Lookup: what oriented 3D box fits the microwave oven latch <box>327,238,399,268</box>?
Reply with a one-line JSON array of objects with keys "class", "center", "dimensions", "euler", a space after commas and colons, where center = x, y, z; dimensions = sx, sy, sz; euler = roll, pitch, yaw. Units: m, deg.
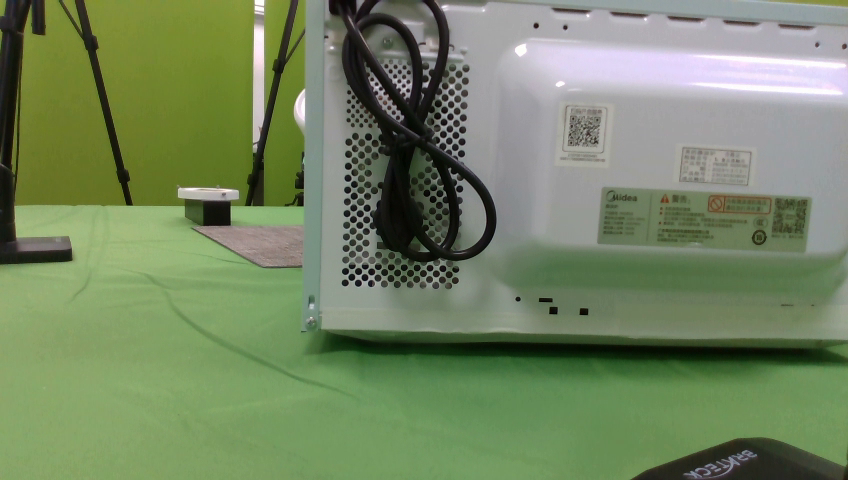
[{"class": "microwave oven latch", "center": [-0.069, 0.015, 0.694], "dimensions": [0.079, 0.029, 0.030], "euler": [3, 7, -3]}]

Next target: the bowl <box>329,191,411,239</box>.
[{"class": "bowl", "center": [-0.099, -0.046, 1.104], "dimensions": [0.151, 0.077, 0.151], "euler": [3, 8, 0]}]

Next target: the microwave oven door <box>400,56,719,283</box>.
[{"class": "microwave oven door", "center": [0.155, -0.077, 0.698], "dimensions": [0.356, 0.243, 0.039], "euler": [2, 8, -5]}]

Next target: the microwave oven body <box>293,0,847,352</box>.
[{"class": "microwave oven body", "center": [0.122, -0.055, 0.550], "dimensions": [0.442, 0.260, 0.325], "euler": [3, 7, -5]}]

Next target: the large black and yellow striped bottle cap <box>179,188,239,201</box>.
[{"class": "large black and yellow striped bottle cap", "center": [-0.434, -0.093, 1.226], "dimensions": [0.115, 0.019, 0.115], "euler": [3, 9, 0]}]

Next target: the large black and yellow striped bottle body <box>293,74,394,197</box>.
[{"class": "large black and yellow striped bottle body", "center": [-0.126, -0.169, 1.019], "dimensions": [0.130, 0.130, 0.184], "euler": [5, -32, 19]}]
